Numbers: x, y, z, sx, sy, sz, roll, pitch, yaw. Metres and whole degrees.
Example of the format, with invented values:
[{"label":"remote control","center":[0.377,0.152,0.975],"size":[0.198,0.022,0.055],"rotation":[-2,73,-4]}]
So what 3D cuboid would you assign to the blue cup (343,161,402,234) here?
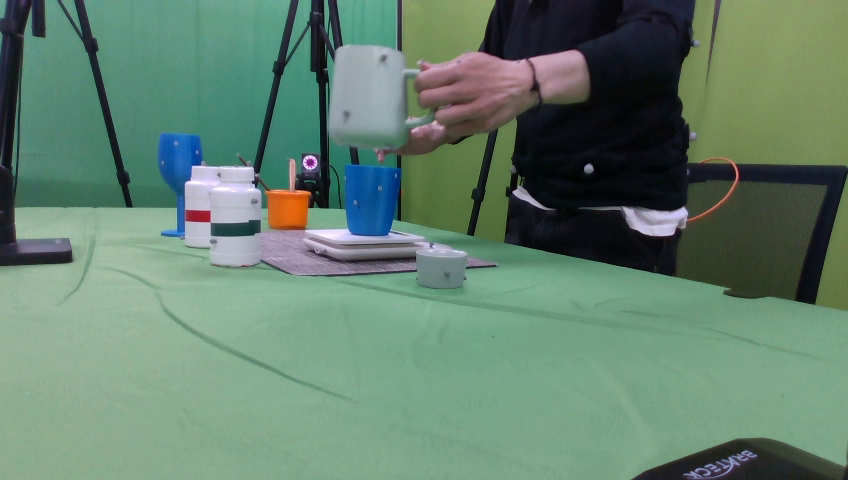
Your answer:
[{"label":"blue cup","center":[-0.078,-0.062,0.884],"size":[0.093,0.100,0.092],"rotation":[4,6,0]}]

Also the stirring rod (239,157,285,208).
[{"label":"stirring rod","center":[-0.309,-0.098,1.209],"size":[0.006,0.177,0.014],"rotation":[-39,29,-4]}]

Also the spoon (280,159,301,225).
[{"label":"spoon","center":[-0.273,-0.102,1.252],"size":[0.042,0.193,0.021],"rotation":[7,-38,-17]}]

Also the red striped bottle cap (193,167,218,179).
[{"label":"red striped bottle cap","center":[-0.329,-0.103,0.921],"size":[0.044,0.017,0.044],"rotation":[0,9,0]}]

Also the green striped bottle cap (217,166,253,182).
[{"label":"green striped bottle cap","center":[-0.242,-0.084,0.776],"size":[0.044,0.020,0.044],"rotation":[1,7,0]}]

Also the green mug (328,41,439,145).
[{"label":"green mug","center":[-0.045,-0.162,0.683],"size":[0.125,0.105,0.092],"rotation":[3,5,9]}]

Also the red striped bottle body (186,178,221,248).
[{"label":"red striped bottle body","center":[-0.331,-0.050,0.927],"size":[0.063,0.119,0.063],"rotation":[2,6,0]}]

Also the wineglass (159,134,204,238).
[{"label":"wineglass","center":[-0.415,-0.093,1.040],"size":[0.074,0.172,0.073],"rotation":[2,7,0]}]

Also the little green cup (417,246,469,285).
[{"label":"little green cup","center":[0.021,0.029,0.701],"size":[0.061,0.038,0.061],"rotation":[1,6,0]}]

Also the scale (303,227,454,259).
[{"label":"scale","center":[-0.066,0.001,0.906],"size":[0.202,0.031,0.148],"rotation":[-2,8,-31]}]

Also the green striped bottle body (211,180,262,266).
[{"label":"green striped bottle body","center":[-0.243,-0.029,0.784],"size":[0.063,0.119,0.063],"rotation":[2,7,0]}]
